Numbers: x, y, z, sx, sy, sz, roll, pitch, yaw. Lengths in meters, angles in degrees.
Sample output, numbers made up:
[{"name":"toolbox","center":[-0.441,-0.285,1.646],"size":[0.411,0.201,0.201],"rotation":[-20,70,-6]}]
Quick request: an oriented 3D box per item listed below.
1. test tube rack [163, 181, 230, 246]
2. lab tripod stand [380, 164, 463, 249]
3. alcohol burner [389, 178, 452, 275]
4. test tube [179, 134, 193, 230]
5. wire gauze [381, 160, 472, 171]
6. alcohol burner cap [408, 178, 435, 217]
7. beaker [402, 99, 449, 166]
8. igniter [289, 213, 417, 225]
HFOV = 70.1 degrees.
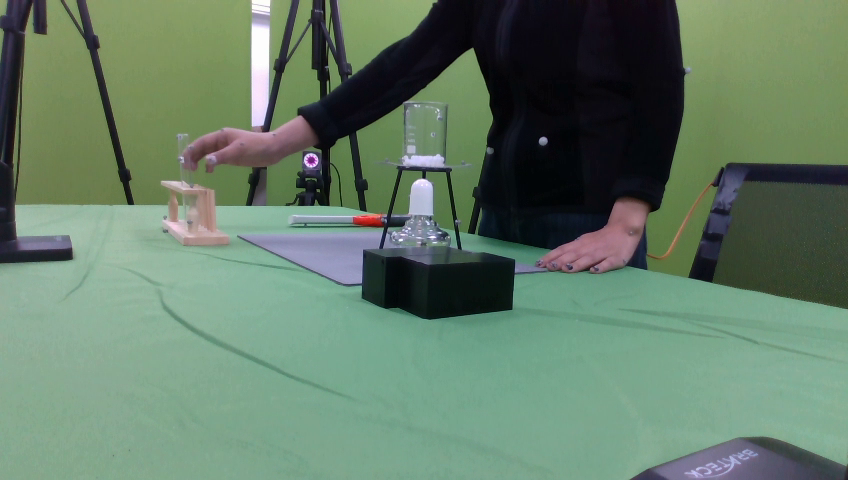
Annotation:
[{"name":"test tube rack","center":[-0.387,-0.050,1.015],"size":[0.067,0.085,0.241],"rotation":[-2,9,-30]},{"name":"lab tripod stand","center":[-0.003,-0.055,0.967],"size":[0.148,0.131,0.148],"rotation":[2,9,0]},{"name":"alcohol burner","center":[-0.004,-0.017,0.749],"size":[0.078,0.119,0.078],"rotation":[1,9,0]},{"name":"test tube","center":[-0.367,-0.089,0.938],"size":[0.017,0.150,0.017],"rotation":[-1,9,0]},{"name":"wire gauze","center":[-0.004,-0.120,0.959],"size":[0.122,0.011,0.124],"rotation":[-5,13,-33]},{"name":"alcohol burner cap","center":[-0.003,-0.053,0.746],"size":[0.034,0.048,0.034],"rotation":[2,3,0]},{"name":"beaker","center":[0.003,-0.168,0.957],"size":[0.073,0.100,0.084],"rotation":[9,10,35]},{"name":"igniter","center":[-0.144,-0.044,1.275],"size":[0.278,0.025,0.057],"rotation":[-1,-2,-27]}]
